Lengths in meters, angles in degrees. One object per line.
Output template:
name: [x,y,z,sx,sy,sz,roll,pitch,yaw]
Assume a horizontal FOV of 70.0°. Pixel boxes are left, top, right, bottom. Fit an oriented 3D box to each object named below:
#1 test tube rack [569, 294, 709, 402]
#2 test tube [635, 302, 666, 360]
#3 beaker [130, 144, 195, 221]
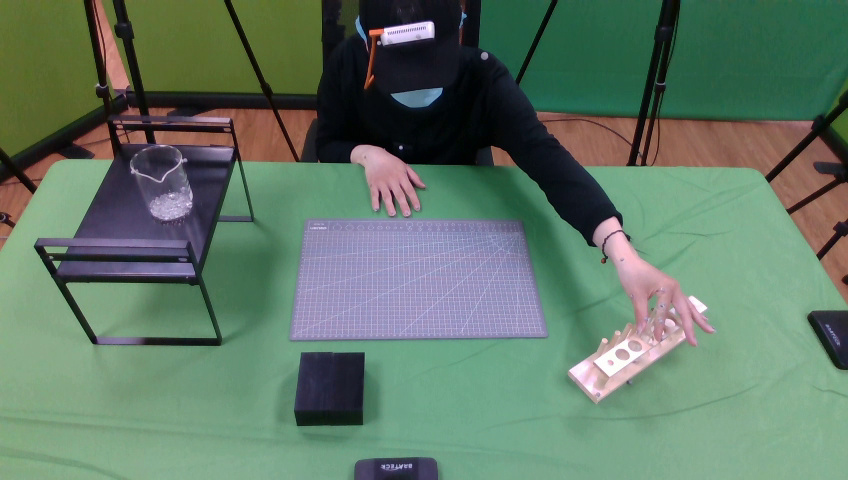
test tube rack: [0.360,0.167,1.014,0.242,0.085,0.066,-25,53,-25]
test tube: [0.356,0.148,0.963,0.017,0.151,0.017,0,48,0]
beaker: [-0.403,-0.085,0.944,0.074,0.101,0.083,-15,50,-17]
